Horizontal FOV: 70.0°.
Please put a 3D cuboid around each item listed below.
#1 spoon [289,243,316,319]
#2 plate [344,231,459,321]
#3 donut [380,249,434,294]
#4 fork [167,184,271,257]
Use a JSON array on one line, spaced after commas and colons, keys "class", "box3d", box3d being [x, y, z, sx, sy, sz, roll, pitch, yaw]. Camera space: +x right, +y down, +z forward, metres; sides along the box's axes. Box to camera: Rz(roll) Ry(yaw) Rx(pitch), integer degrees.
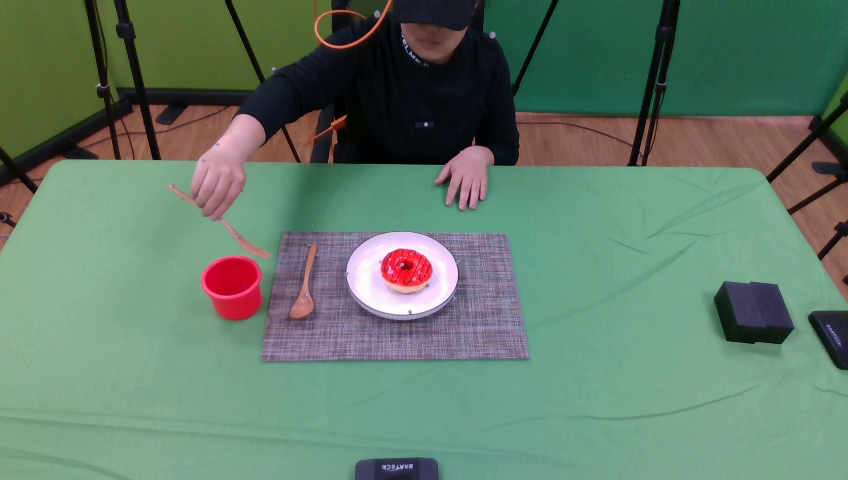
[{"class": "spoon", "box3d": [-0.215, 0.071, 1.108, 0.041, 0.022, 0.192, -11, 45, 11]}, {"class": "plate", "box3d": [-0.042, 0.068, 1.115, 0.209, 0.038, 0.208, 2, 46, -2]}, {"class": "donut", "box3d": [-0.032, 0.056, 1.111, 0.099, 0.048, 0.098, 4, 43, -3]}, {"class": "fork", "box3d": [-0.341, -0.032, 1.008, 0.207, 0.018, 0.028, 39, 19, -1]}]
